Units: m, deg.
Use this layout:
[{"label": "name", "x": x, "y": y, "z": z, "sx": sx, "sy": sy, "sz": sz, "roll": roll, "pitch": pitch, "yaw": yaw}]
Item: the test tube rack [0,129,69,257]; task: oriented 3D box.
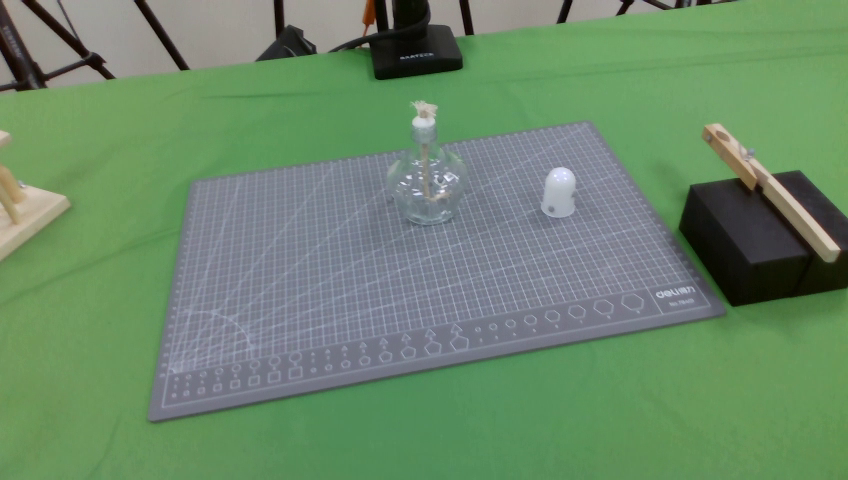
[{"label": "test tube rack", "x": -0.454, "y": 0.001, "z": 0.541, "sx": 0.066, "sy": 0.086, "sz": 0.241, "roll": 15, "pitch": 46, "yaw": 19}]

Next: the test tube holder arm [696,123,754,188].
[{"label": "test tube holder arm", "x": 0.273, "y": -0.077, "z": 0.545, "sx": 0.010, "sy": 0.015, "sz": 0.087, "roll": -19, "pitch": 44, "yaw": 1}]

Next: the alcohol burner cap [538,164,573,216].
[{"label": "alcohol burner cap", "x": 0.126, "y": -0.049, "z": 0.574, "sx": 0.034, "sy": 0.048, "sz": 0.033, "roll": -3, "pitch": 43, "yaw": 3}]

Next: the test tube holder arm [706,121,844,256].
[{"label": "test tube holder arm", "x": 0.289, "y": -0.050, "z": 0.513, "sx": 0.013, "sy": 0.015, "sz": 0.176, "roll": -20, "pitch": 44, "yaw": -1}]

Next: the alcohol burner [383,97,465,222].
[{"label": "alcohol burner", "x": -0.001, "y": -0.076, "z": 0.560, "sx": 0.078, "sy": 0.120, "sz": 0.077, "roll": -3, "pitch": 41, "yaw": 3}]
